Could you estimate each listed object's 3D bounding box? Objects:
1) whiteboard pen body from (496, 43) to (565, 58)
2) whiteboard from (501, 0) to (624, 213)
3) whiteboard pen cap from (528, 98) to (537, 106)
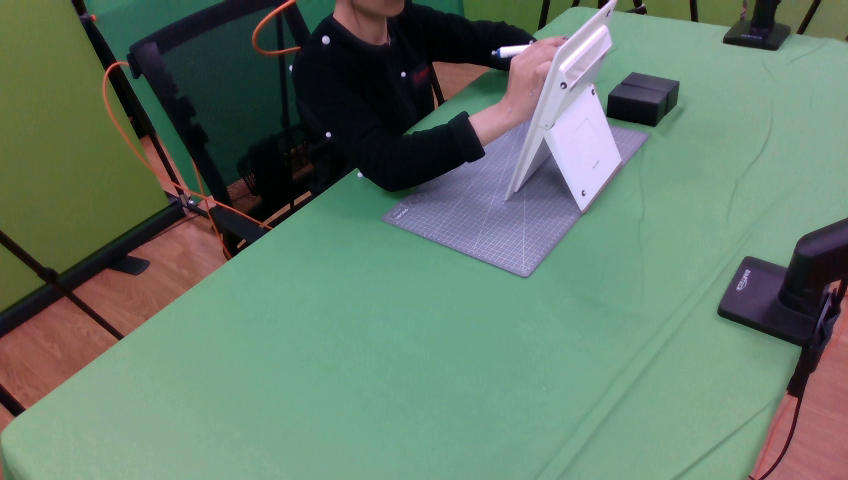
[{"bbox_3d":[0.187,-0.306,0.973,0.140,0.017,0.017,-1,41,12],"label":"whiteboard pen body"},{"bbox_3d":[0.271,-0.189,0.977,0.143,0.306,0.218,34,53,16],"label":"whiteboard"},{"bbox_3d":[0.239,-0.293,1.288,0.033,0.018,0.018,22,50,35],"label":"whiteboard pen cap"}]
